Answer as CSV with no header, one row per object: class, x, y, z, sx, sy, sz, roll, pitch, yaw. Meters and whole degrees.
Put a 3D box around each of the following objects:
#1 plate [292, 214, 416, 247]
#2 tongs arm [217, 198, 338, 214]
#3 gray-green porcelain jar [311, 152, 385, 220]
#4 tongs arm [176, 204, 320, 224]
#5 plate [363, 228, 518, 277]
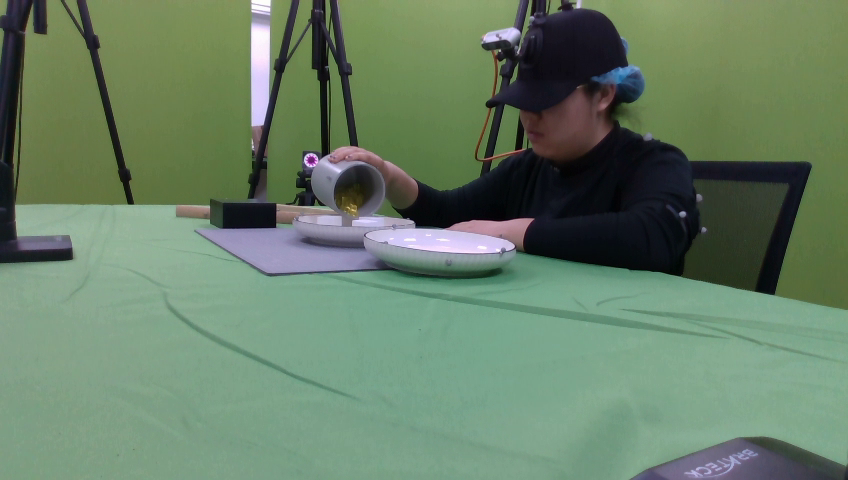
plate,-0.118,-0.017,1.024,0.208,0.039,0.207,2,8,0
tongs arm,-0.313,-0.064,1.352,0.384,0.026,0.051,6,8,17
gray-green porcelain jar,-0.146,-0.104,1.121,0.106,0.106,0.126,-2,18,-30
tongs arm,-0.333,-0.052,1.273,0.387,0.028,0.028,4,5,4
plate,0.021,0.016,0.817,0.209,0.038,0.209,4,9,0
